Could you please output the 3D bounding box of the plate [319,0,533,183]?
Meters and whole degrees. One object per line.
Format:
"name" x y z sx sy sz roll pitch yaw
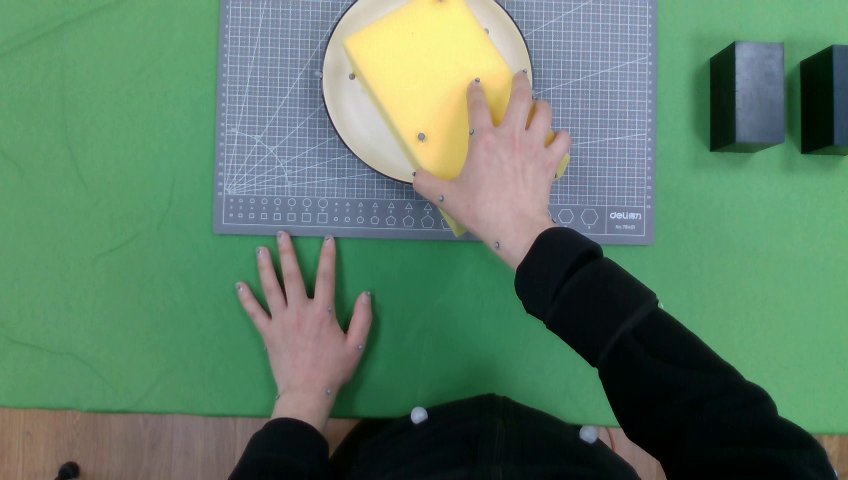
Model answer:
"plate" 0.003 -0.158 0.605 0.209 0.038 0.209 0 88 -3

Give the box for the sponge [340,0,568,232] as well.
"sponge" 0.026 -0.126 0.568 0.118 0.061 0.206 -31 79 -4
